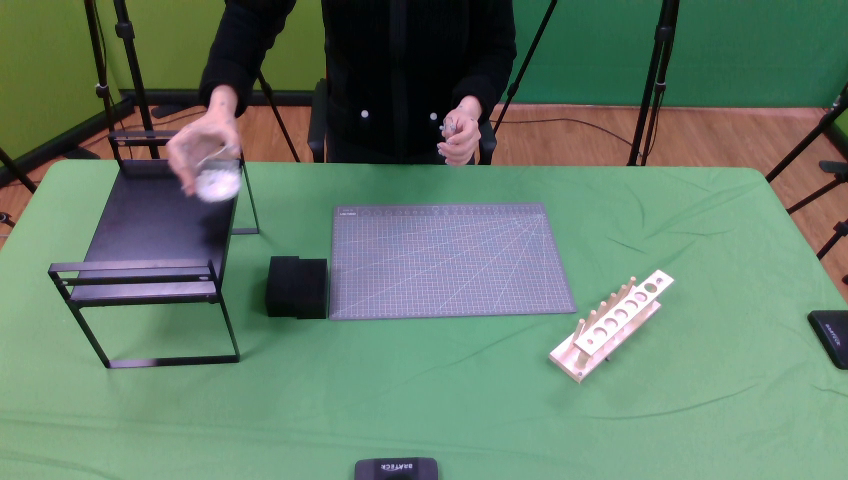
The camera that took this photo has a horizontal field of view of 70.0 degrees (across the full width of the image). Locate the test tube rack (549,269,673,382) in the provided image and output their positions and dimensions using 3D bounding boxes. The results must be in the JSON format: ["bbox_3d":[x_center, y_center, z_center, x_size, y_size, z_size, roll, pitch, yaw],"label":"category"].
[{"bbox_3d":[0.325,0.134,1.047,0.242,0.085,0.066,-32,56,-30],"label":"test tube rack"}]

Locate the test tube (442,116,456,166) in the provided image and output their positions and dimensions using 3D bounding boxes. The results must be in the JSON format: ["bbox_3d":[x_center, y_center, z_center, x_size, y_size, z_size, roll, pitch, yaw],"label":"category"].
[{"bbox_3d":[0.043,-0.165,1.028,0.017,0.151,0.017,-2,70,5],"label":"test tube"}]

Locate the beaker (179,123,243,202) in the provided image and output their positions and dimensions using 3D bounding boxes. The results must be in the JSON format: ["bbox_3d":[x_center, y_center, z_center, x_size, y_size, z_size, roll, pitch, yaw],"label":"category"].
[{"bbox_3d":[-0.317,-0.111,0.910,0.074,0.101,0.083,0,50,-2],"label":"beaker"}]
